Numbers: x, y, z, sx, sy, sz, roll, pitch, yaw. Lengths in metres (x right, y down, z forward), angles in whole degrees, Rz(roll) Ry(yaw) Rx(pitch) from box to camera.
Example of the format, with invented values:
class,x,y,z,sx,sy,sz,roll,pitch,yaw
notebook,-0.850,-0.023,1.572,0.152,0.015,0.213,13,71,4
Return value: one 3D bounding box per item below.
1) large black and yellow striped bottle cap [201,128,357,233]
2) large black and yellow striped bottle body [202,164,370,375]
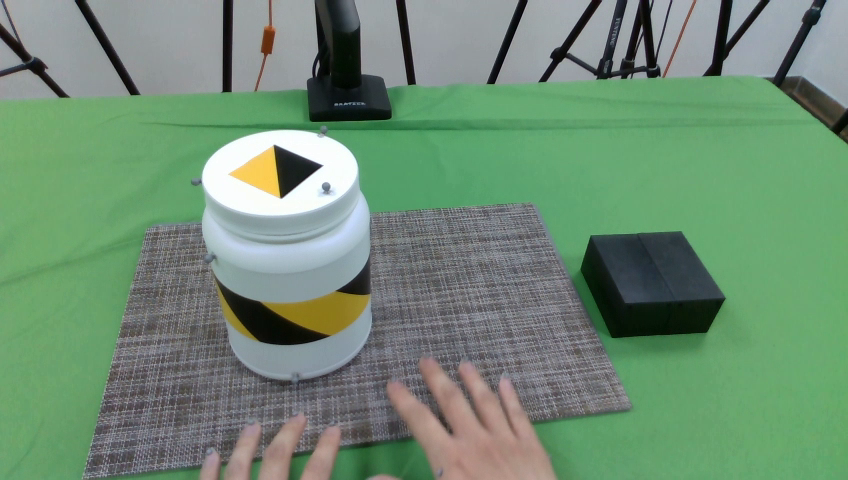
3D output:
class,x,y,z,sx,sy,sz,roll,pitch,yaw
large black and yellow striped bottle cap,-0.109,-0.049,0.462,0.115,0.019,0.114,2,41,-1
large black and yellow striped bottle body,-0.113,0.013,0.519,0.131,0.185,0.129,2,42,-2
